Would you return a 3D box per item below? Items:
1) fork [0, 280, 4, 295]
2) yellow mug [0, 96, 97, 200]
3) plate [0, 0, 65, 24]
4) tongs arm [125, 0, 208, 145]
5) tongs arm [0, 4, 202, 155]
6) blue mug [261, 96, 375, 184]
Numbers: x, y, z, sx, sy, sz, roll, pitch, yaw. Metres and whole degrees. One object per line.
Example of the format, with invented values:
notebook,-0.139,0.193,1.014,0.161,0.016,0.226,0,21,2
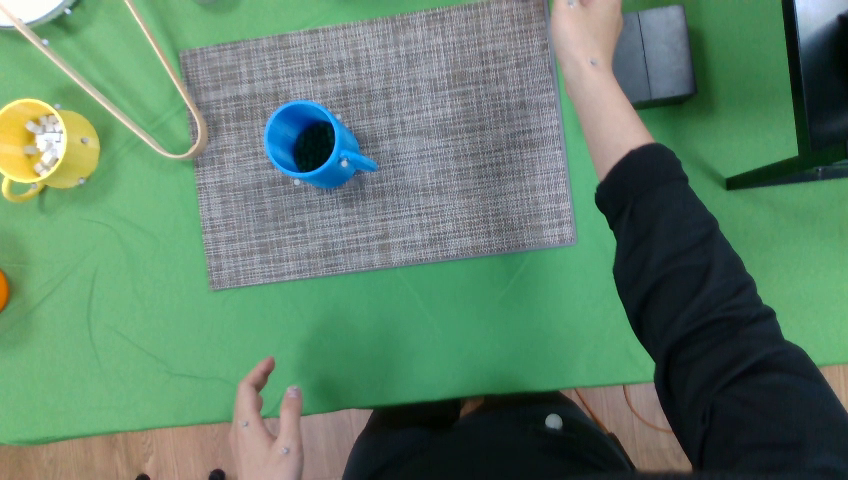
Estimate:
fork,-0.619,0.053,0.709,0.209,0.018,0.028,6,89,-39
yellow mug,-0.474,-0.105,0.739,0.100,0.064,0.131,31,94,3
plate,-0.512,-0.370,0.754,0.207,0.039,0.207,0,91,5
tongs arm,-0.367,-0.288,0.727,0.028,0.027,0.388,-32,95,-5
tongs arm,-0.431,-0.232,0.729,0.385,0.026,0.051,44,90,-4
blue mug,-0.112,-0.105,0.687,0.116,0.106,0.082,18,91,4
